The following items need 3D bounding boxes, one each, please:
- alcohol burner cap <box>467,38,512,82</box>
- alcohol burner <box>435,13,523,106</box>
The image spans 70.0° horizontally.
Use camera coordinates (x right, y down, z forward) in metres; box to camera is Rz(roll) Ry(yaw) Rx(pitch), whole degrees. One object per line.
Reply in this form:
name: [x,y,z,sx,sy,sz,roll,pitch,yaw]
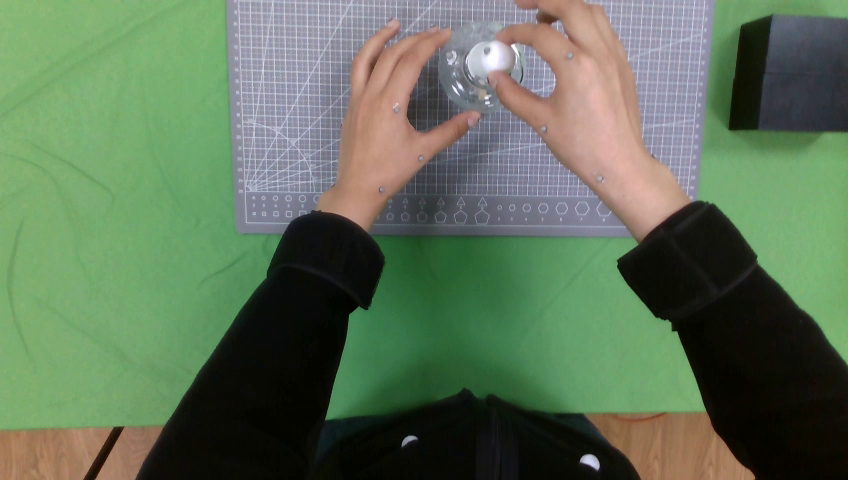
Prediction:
alcohol burner cap: [0.052,-0.142,0.475,0.034,0.047,0.034,0,102,-2]
alcohol burner: [0.050,-0.153,0.512,0.078,0.118,0.078,-1,101,-6]
